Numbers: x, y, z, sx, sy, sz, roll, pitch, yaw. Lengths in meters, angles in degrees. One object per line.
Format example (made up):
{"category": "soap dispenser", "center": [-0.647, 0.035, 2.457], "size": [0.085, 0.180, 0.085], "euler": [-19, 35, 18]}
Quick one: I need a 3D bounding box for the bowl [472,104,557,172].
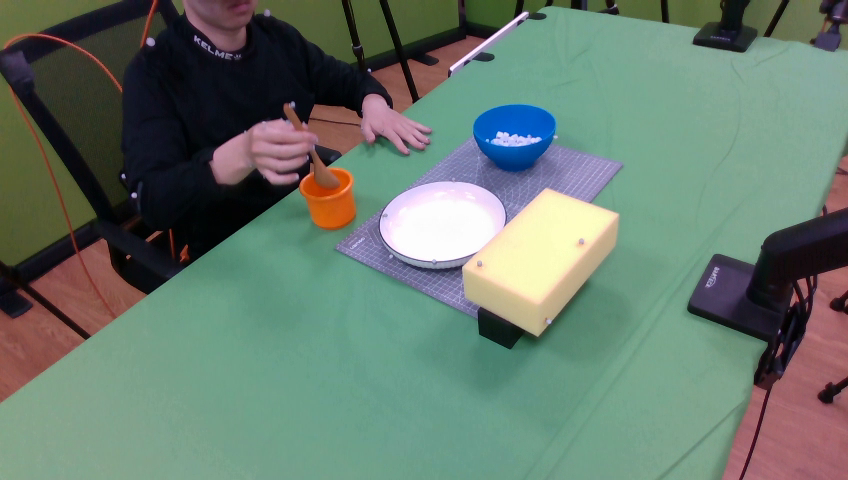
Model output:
{"category": "bowl", "center": [0.165, -0.178, 1.105], "size": [0.151, 0.077, 0.150], "euler": [-4, 40, 4]}

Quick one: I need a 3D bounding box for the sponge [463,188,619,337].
{"category": "sponge", "center": [0.160, 0.022, 0.814], "size": [0.117, 0.061, 0.207], "euler": [24, 50, 32]}

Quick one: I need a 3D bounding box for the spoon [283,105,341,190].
{"category": "spoon", "center": [-0.174, -0.136, 0.923], "size": [0.041, 0.195, 0.021], "euler": [-5, 53, 13]}

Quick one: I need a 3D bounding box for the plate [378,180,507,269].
{"category": "plate", "center": [0.031, -0.022, 0.974], "size": [0.209, 0.038, 0.208], "euler": [-4, 40, 4]}
